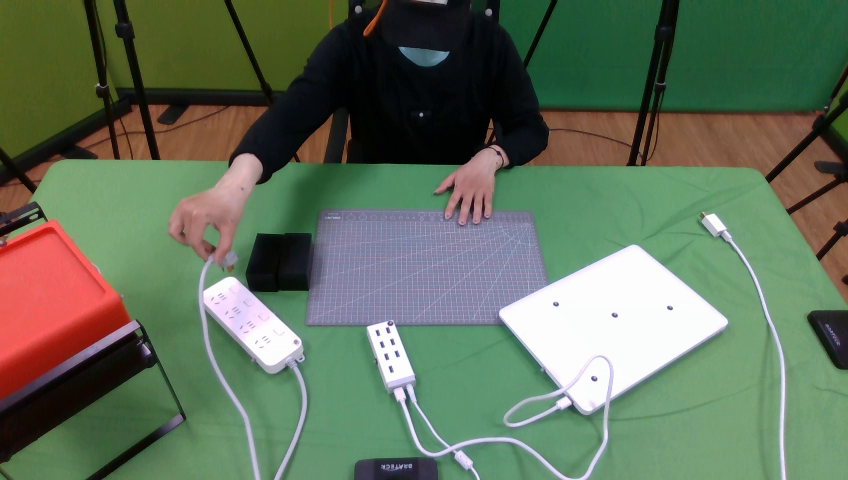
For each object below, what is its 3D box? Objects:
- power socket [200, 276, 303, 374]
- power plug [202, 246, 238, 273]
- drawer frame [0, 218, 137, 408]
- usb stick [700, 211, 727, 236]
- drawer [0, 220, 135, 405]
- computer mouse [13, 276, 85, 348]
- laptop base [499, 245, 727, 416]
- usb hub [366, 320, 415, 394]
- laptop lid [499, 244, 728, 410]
[{"bbox_3d":[-0.297,0.141,1.034,0.225,0.033,0.072,37,55,26],"label":"power socket"},{"bbox_3d":[-0.344,0.040,1.010,0.035,0.053,0.072,15,37,31],"label":"power plug"},{"bbox_3d":[-0.523,0.094,0.779,0.200,0.083,0.213,37,55,26],"label":"drawer frame"},{"bbox_3d":[0.605,-0.038,1.273,0.027,0.021,0.059,-18,56,-20],"label":"usb stick"},{"bbox_3d":[-0.522,0.093,0.782,0.211,0.073,0.193,-35,58,-30],"label":"drawer"},{"bbox_3d":[-0.497,0.090,0.804,0.063,0.041,0.116,-7,42,-7],"label":"computer mouse"},{"bbox_3d":[0.339,0.146,1.088,0.354,0.023,0.234,-23,49,-24],"label":"laptop base"},{"bbox_3d":[-0.056,0.192,1.009,0.049,0.025,0.124,-12,49,-16],"label":"usb hub"},{"bbox_3d":[0.338,0.136,1.081,0.357,0.013,0.240,-21,50,-23],"label":"laptop lid"}]
